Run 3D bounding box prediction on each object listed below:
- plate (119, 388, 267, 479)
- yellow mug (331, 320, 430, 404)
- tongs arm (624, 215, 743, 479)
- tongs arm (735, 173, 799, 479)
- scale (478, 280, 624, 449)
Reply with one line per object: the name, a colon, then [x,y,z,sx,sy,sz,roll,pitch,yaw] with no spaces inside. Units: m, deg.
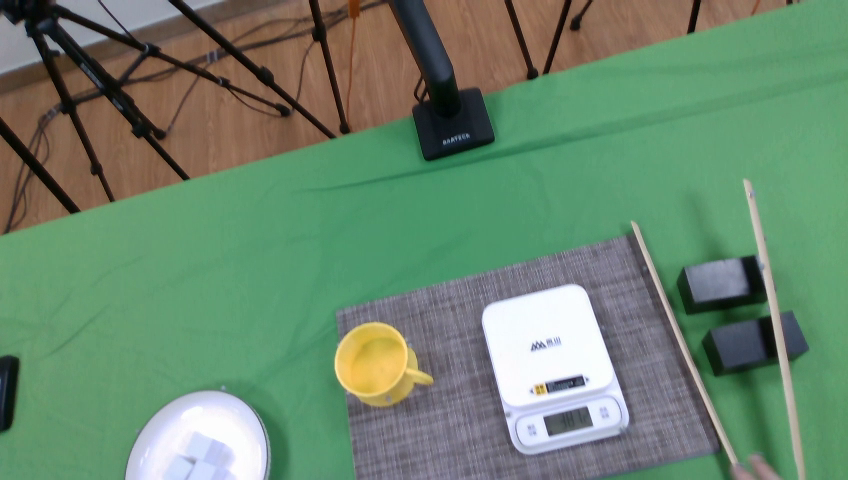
plate: [-0.308,0.308,0.821,0.207,0.039,0.206,-4,65,10]
yellow mug: [-0.054,0.168,0.812,0.130,0.064,0.099,12,68,16]
tongs arm: [0.332,0.131,0.769,0.028,0.028,0.384,-29,60,26]
tongs arm: [0.394,0.104,0.723,0.050,0.027,0.382,-17,67,35]
scale: [0.161,0.157,0.790,0.148,0.032,0.199,-16,64,5]
